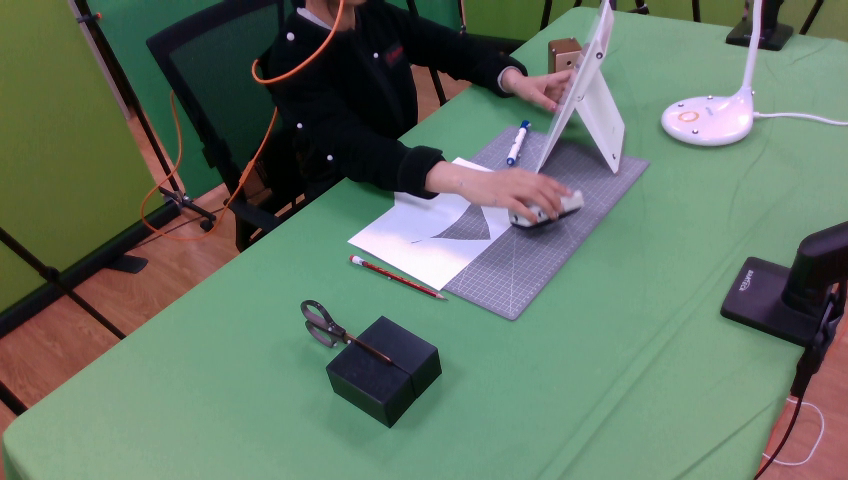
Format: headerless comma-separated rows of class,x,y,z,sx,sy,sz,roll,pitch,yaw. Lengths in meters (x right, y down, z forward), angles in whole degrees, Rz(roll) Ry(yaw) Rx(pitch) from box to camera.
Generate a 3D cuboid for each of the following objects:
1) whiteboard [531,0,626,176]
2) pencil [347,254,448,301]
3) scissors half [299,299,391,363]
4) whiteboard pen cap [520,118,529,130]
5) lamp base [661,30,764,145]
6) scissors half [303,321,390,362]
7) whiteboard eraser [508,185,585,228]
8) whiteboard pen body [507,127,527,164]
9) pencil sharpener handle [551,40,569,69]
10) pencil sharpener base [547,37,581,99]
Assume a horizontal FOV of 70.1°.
whiteboard,0.320,-0.258,1.050,0.144,0.306,0.217,22,45,5
pencil,-0.044,0.058,0.933,0.192,0.012,0.012,22,49,29
scissors half,-0.107,0.120,0.794,0.174,0.040,0.013,26,45,32
whiteboard pen cap,0.199,-0.227,1.204,0.018,0.018,0.033,4,45,15
lamp base,0.535,-0.287,1.096,0.179,0.181,0.159,-10,40,-4
scissors half,-0.104,0.138,0.803,0.174,0.040,0.013,8,28,44
whiteboard eraser,0.191,-0.051,0.942,0.113,0.042,0.055,-22,15,-20
whiteboard pen body,0.181,-0.189,1.162,0.017,0.017,0.140,8,42,19
pencil sharpener handle,0.292,-0.409,1.321,0.036,0.068,0.030,2,40,-6
pencil sharpener base,0.300,-0.368,1.290,0.061,0.107,0.076,-8,40,3
